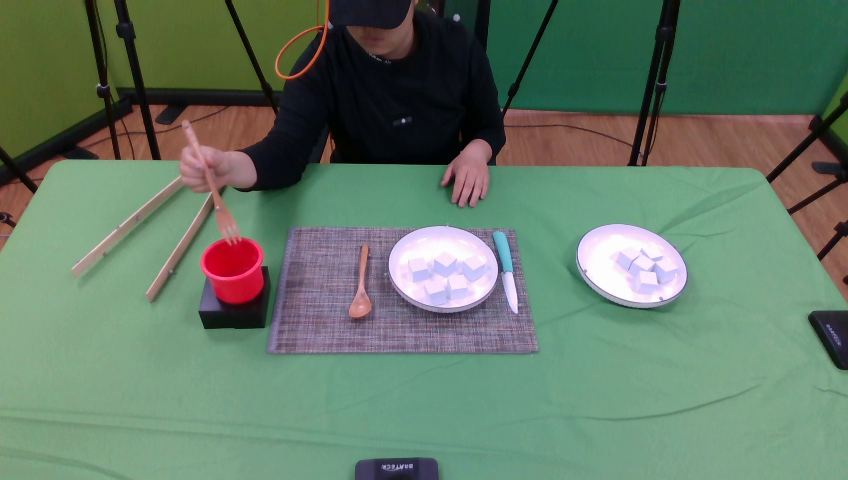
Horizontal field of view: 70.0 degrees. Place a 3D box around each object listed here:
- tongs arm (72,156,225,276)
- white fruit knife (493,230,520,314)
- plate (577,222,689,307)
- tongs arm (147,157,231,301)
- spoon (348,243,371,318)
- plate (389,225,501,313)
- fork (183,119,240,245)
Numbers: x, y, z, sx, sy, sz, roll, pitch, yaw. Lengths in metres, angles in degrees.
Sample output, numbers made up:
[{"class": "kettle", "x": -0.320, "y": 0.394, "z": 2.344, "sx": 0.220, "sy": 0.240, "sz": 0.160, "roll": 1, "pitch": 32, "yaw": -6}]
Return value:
[{"class": "tongs arm", "x": -0.531, "y": -0.058, "z": 1.205, "sx": 0.050, "sy": 0.026, "sz": 0.383, "roll": 19, "pitch": 47, "yaw": 13}, {"class": "white fruit knife", "x": 0.160, "y": 0.057, "z": 1.154, "sx": 0.027, "sy": 0.016, "sz": 0.206, "roll": -21, "pitch": 46, "yaw": 16}, {"class": "plate", "x": 0.396, "y": 0.050, "z": 1.165, "sx": 0.209, "sy": 0.038, "sz": 0.208, "roll": 2, "pitch": 47, "yaw": -2}, {"class": "tongs arm", "x": -0.454, "y": -0.035, "z": 1.194, "sx": 0.028, "sy": 0.028, "sz": 0.385, "roll": 7, "pitch": 46, "yaw": 6}, {"class": "spoon", "x": -0.113, "y": 0.070, "z": 1.115, "sx": 0.041, "sy": 0.022, "sz": 0.192, "roll": -11, "pitch": 45, "yaw": 10}, {"class": "plate", "x": 0.038, "y": 0.057, "z": 1.129, "sx": 0.208, "sy": 0.039, "sz": 0.206, "roll": 2, "pitch": 46, "yaw": -2}, {"class": "fork", "x": -0.338, "y": -0.090, "z": 0.960, "sx": 0.028, "sy": 0.208, "sz": 0.018, "roll": -24, "pitch": 18, "yaw": -25}]
